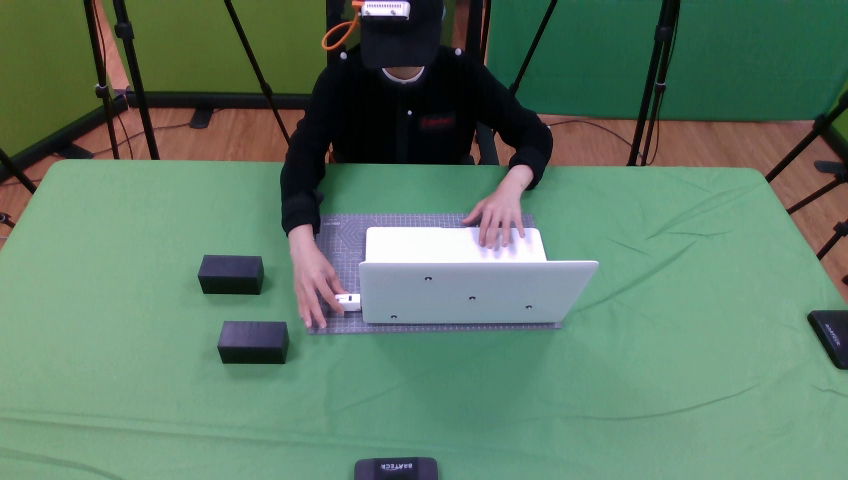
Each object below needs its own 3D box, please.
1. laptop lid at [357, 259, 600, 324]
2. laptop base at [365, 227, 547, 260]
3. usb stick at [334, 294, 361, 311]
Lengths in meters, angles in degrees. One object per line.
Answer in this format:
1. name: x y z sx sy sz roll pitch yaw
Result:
1. laptop lid: 0.075 0.087 0.959 0.357 0.242 0.013 1 60 -5
2. laptop base: 0.064 0.062 1.144 0.355 0.023 0.234 0 43 -4
3. usb stick: -0.128 0.110 1.066 0.059 0.027 0.021 2 46 -6
